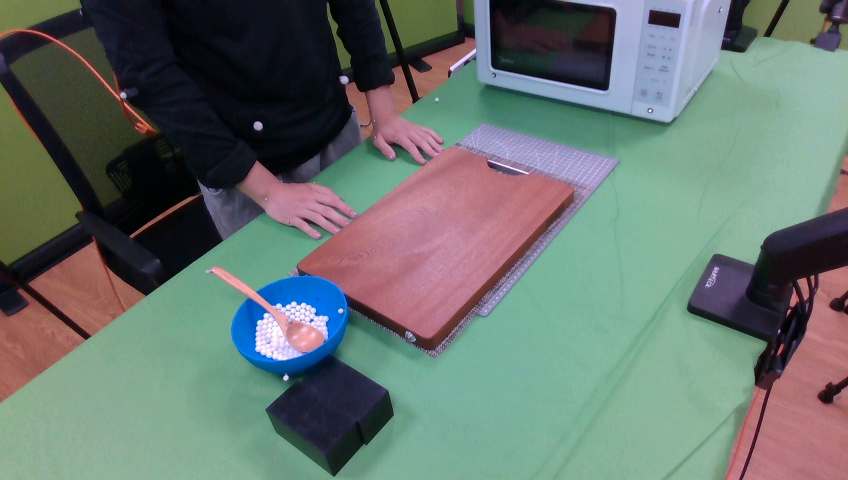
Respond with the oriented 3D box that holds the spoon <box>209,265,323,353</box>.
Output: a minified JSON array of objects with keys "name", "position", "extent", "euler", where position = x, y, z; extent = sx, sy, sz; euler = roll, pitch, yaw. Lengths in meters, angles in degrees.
[{"name":"spoon","position":[-0.213,0.087,0.806],"extent":[0.193,0.021,0.042],"euler":[37,57,11]}]

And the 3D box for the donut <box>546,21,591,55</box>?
[{"name":"donut","position":[0.310,-0.435,1.299],"extent":[0.099,0.048,0.098],"euler":[-21,34,16]}]

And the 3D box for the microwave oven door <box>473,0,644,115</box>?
[{"name":"microwave oven door","position":[0.257,-0.396,1.199],"extent":[0.353,0.245,0.039],"euler":[21,48,29]}]

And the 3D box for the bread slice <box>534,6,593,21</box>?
[{"name":"bread slice","position":[0.299,-0.480,1.278],"extent":[0.106,0.018,0.134],"euler":[8,29,22]}]

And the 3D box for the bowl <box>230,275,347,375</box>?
[{"name":"bowl","position":[-0.171,0.125,0.802],"extent":[0.151,0.077,0.150],"euler":[-4,40,4]}]

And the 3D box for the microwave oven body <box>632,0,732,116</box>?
[{"name":"microwave oven body","position":[0.377,-0.462,1.267],"extent":[0.438,0.261,0.327],"euler":[21,48,30]}]

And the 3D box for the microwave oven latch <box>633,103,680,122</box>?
[{"name":"microwave oven latch","position":[0.443,-0.249,1.157],"extent":[0.078,0.029,0.030],"euler":[20,48,29]}]

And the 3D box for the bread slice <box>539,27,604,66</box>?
[{"name":"bread slice","position":[0.331,-0.432,1.339],"extent":[0.104,0.019,0.132],"euler":[25,60,42]}]
